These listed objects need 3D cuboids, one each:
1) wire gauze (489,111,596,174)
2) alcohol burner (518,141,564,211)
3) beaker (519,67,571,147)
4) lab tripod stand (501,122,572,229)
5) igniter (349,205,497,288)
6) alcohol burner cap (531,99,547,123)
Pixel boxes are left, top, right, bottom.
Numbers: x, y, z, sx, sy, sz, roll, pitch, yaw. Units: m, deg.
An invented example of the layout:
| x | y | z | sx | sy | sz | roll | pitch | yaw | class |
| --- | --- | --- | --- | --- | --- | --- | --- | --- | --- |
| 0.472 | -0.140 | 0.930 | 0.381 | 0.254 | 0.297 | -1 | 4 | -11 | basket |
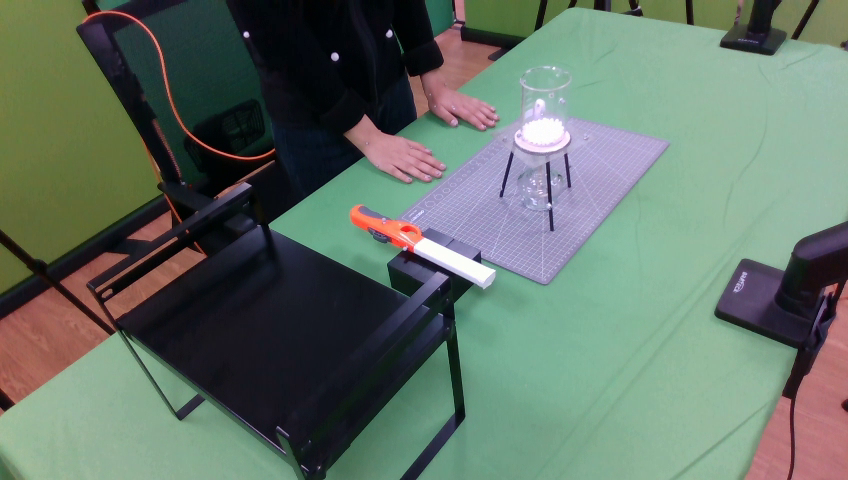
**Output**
| x | y | z | sx | sy | sz | roll | pitch | yaw | class |
| --- | --- | --- | --- | --- | --- | --- | --- | --- | --- |
| 0.183 | -0.159 | 0.943 | 0.122 | 0.011 | 0.124 | -25 | 47 | -17 | wire gauze |
| 0.193 | -0.109 | 0.999 | 0.078 | 0.119 | 0.077 | -5 | 38 | 5 | alcohol burner |
| 0.184 | -0.201 | 0.917 | 0.073 | 0.101 | 0.084 | 26 | 51 | 31 | beaker |
| 0.194 | -0.110 | 0.985 | 0.148 | 0.132 | 0.147 | -3 | 42 | 3 | lab tripod stand |
| -0.013 | 0.004 | 0.897 | 0.274 | 0.025 | 0.057 | 25 | 44 | 32 | igniter |
| 0.234 | -0.264 | 1.231 | 0.034 | 0.048 | 0.033 | -5 | 41 | 5 | alcohol burner cap |
